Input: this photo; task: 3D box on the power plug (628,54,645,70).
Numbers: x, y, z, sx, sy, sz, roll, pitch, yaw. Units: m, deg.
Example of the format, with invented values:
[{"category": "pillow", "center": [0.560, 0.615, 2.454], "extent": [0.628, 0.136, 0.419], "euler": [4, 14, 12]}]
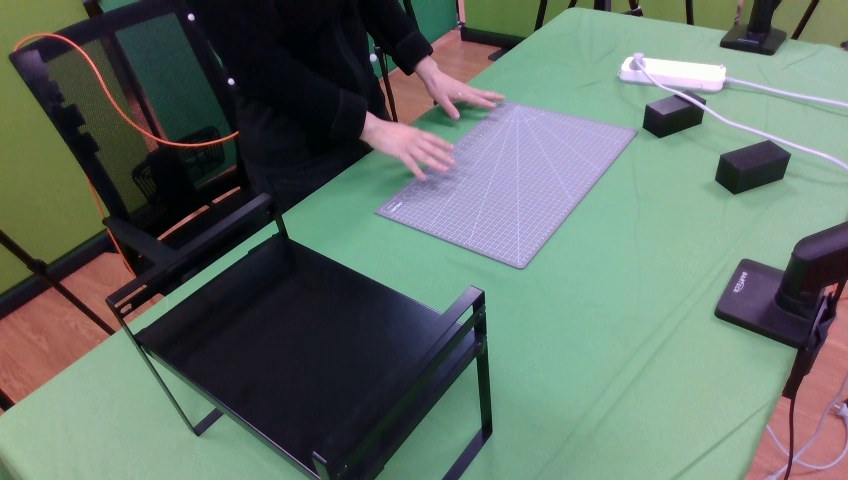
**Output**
[{"category": "power plug", "center": [0.451, -0.370, 1.300], "extent": [0.035, 0.053, 0.073], "euler": [23, 49, 31]}]

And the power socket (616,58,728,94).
[{"category": "power socket", "center": [0.532, -0.355, 1.303], "extent": [0.225, 0.033, 0.072], "euler": [15, 46, 23]}]
